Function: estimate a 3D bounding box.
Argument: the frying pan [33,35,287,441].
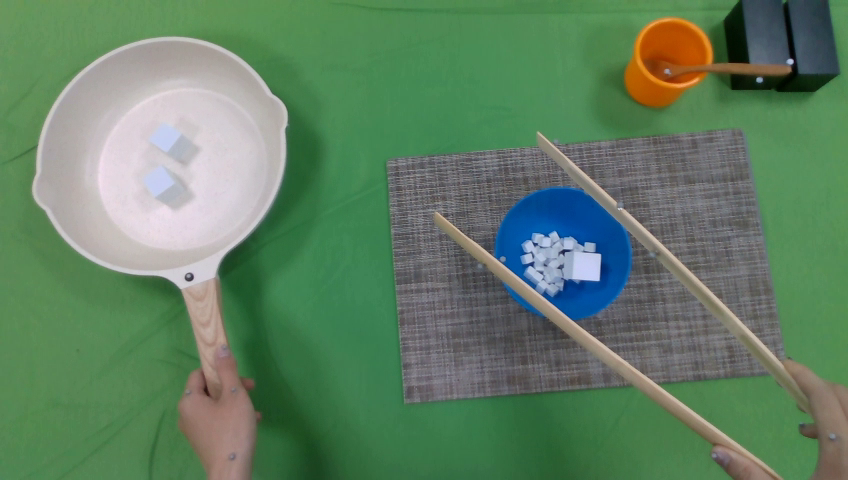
[{"bbox_3d":[-0.273,-0.007,0.702,0.307,0.103,0.484,-19,72,-1],"label":"frying pan"}]

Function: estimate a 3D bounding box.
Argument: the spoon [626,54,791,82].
[{"bbox_3d":[0.321,-0.202,0.703,0.022,0.192,0.041,39,77,-36],"label":"spoon"}]

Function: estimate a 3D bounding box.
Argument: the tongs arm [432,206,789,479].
[{"bbox_3d":[0.148,0.079,0.504,0.384,0.028,0.028,38,69,25],"label":"tongs arm"}]

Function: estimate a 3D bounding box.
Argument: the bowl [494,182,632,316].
[{"bbox_3d":[0.153,0.016,0.698,0.151,0.077,0.151,0,80,1],"label":"bowl"}]

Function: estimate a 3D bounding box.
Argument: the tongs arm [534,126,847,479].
[{"bbox_3d":[0.204,0.034,0.517,0.051,0.027,0.381,-35,62,-11],"label":"tongs arm"}]
